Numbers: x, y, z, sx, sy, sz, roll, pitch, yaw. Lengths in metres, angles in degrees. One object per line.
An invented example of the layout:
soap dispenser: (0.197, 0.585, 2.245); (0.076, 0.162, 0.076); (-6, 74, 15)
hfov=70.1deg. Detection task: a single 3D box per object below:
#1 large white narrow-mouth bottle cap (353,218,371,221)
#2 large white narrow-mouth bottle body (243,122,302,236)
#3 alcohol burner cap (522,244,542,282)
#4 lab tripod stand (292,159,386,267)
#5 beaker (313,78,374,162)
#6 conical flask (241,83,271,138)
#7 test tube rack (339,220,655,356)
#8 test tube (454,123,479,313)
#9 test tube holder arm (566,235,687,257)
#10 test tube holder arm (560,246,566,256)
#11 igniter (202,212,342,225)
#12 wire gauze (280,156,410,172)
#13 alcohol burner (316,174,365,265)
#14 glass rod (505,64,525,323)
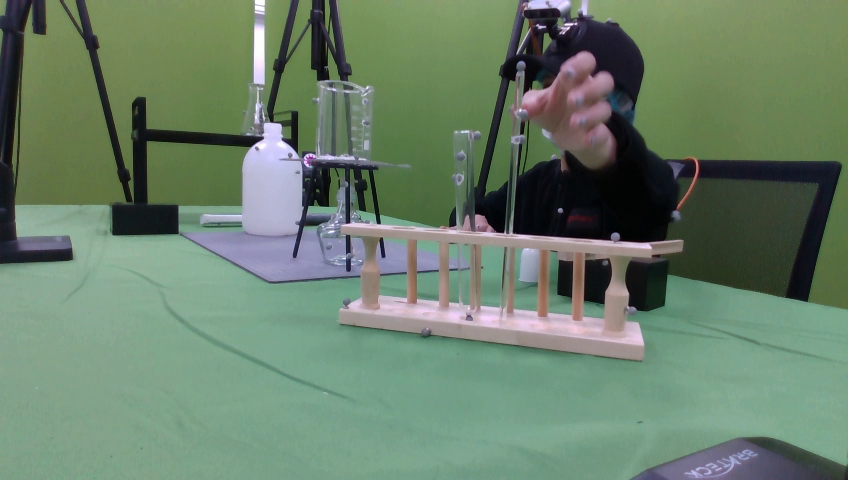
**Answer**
large white narrow-mouth bottle cap: (-0.121, -0.029, 1.184); (0.038, 0.024, 0.037); (2, 8, 0)
large white narrow-mouth bottle body: (-0.265, -0.109, 1.061); (0.102, 0.194, 0.102); (2, 8, 0)
alcohol burner cap: (0.137, 0.026, 0.741); (0.034, 0.048, 0.034); (1, 6, 0)
lab tripod stand: (-0.105, -0.039, 0.797); (0.148, 0.131, 0.148); (2, 5, 0)
beaker: (-0.101, -0.150, 0.773); (0.074, 0.100, 0.083); (-2, 8, -40)
conical flask: (-0.384, -0.297, 1.393); (0.075, 0.122, 0.075); (2, 7, 0)
test tube rack: (0.056, 0.032, 0.495); (0.242, 0.085, 0.067); (4, 7, 15)
test tube: (0.034, -0.016, 0.477); (0.017, 0.150, 0.017); (-2, 9, 1)
test tube holder arm: (0.215, 0.006, 0.629); (0.179, 0.015, 0.013); (-3, 9, -30)
test tube holder arm: (0.173, 0.007, 0.612); (0.088, 0.015, 0.010); (-3, 9, -29)
igniter: (-0.298, -0.043, 1.216); (0.278, 0.025, 0.057); (-3, -2, -32)
wire gauze: (-0.103, -0.102, 0.785); (0.121, 0.011, 0.126); (11, 8, 42)
alcohol burner: (-0.102, -0.028, 0.790); (0.078, 0.119, 0.078); (0, 6, 0)
glass rod: (0.069, -0.030, 0.458); (0.008, 0.199, 0.008); (0, 15, 0)
